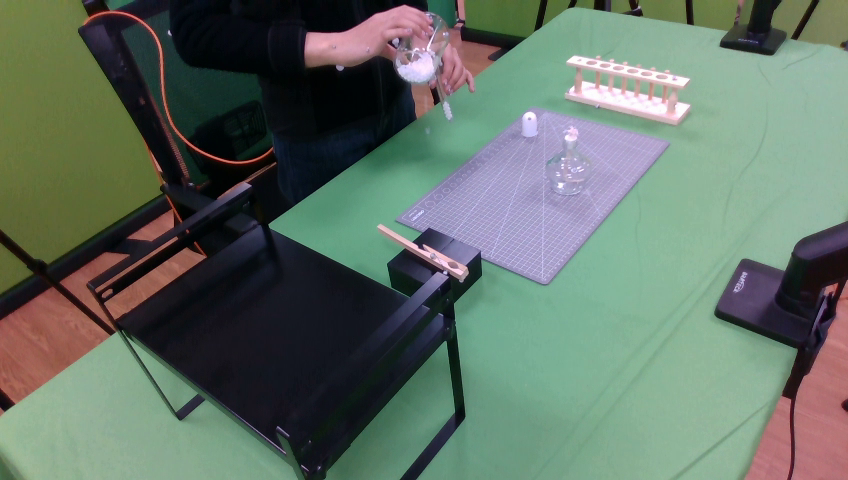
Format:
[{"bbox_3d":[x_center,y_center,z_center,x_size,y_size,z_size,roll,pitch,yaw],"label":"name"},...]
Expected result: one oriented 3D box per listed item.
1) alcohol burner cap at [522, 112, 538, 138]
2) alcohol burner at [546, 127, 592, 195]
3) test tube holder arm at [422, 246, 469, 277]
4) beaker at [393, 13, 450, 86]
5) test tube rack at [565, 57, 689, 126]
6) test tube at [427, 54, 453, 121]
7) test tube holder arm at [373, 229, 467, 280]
[{"bbox_3d":[0.210,-0.230,1.195,0.034,0.048,0.033,-5,40,5],"label":"alcohol burner cap"},{"bbox_3d":[0.246,-0.137,1.024,0.078,0.119,0.077,-4,38,4],"label":"alcohol burner"},{"bbox_3d":[0.028,0.031,0.864,0.087,0.015,0.010,25,48,34],"label":"test tube holder arm"},{"bbox_3d":[-0.005,-0.303,0.975,0.074,0.084,0.100,7,51,14],"label":"beaker"},{"bbox_3d":[0.411,-0.311,1.230,0.240,0.085,0.067,23,49,32],"label":"test tube rack"},{"bbox_3d":[0.030,-0.271,1.091,0.017,0.151,0.017,-8,54,12],"label":"test tube"},{"bbox_3d":[-0.010,0.019,0.885,0.177,0.015,0.013,23,47,33],"label":"test tube holder arm"}]
